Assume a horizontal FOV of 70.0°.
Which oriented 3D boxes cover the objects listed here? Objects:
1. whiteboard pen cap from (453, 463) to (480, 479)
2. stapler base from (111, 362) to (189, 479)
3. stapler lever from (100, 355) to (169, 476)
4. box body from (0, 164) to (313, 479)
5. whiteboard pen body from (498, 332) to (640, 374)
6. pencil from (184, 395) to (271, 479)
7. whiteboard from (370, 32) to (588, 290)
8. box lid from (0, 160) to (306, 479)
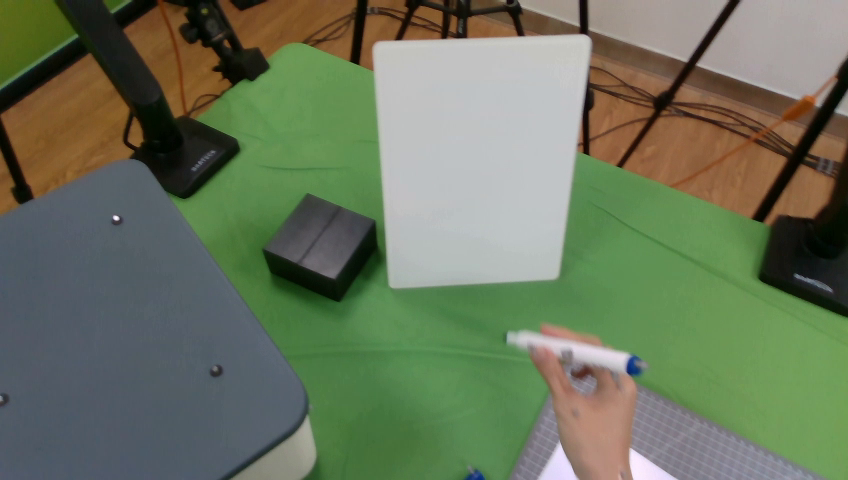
[{"bbox_3d":[0.042,0.242,0.612,0.033,0.018,0.018,-34,61,-24],"label":"whiteboard pen cap"},{"bbox_3d":[-0.286,0.184,0.627,0.041,0.025,0.129,-3,56,20],"label":"stapler base"},{"bbox_3d":[-0.293,0.172,0.608,0.027,0.040,0.117,-3,54,21],"label":"stapler lever"},{"bbox_3d":[-0.303,0.131,0.592,0.254,0.162,0.360,-33,61,-23],"label":"box body"},{"bbox_3d":[0.109,0.087,0.486,0.017,0.017,0.140,-43,25,-28],"label":"whiteboard pen body"},{"bbox_3d":[-0.223,0.227,0.609,0.012,0.012,0.193,28,48,18],"label":"pencil"},{"bbox_3d":[0.053,-0.108,0.728,0.217,0.308,0.142,-3,35,-3],"label":"whiteboard"},{"bbox_3d":[-0.303,0.086,0.533,0.263,0.015,0.368,-33,62,-23],"label":"box lid"}]
